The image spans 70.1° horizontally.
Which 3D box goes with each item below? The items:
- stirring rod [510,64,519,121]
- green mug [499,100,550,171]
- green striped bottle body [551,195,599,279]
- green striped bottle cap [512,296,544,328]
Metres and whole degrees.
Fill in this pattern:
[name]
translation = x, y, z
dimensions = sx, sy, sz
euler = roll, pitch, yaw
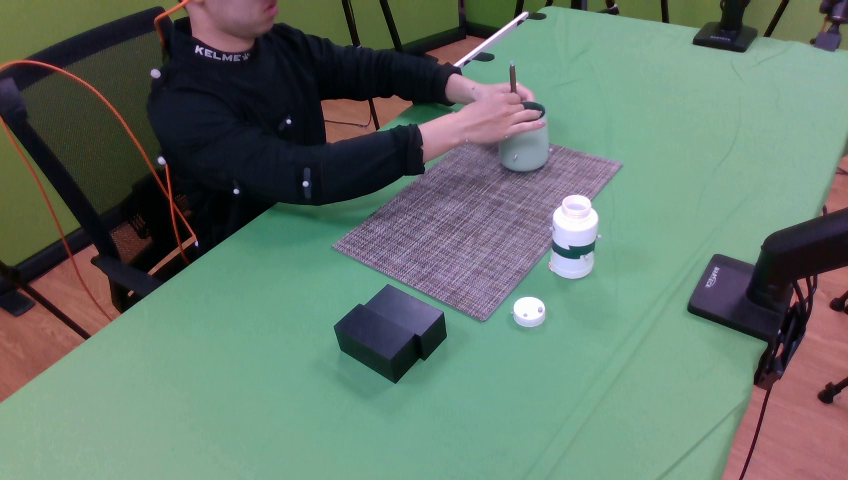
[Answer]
[stirring rod]
translation = 0.163, -0.224, 1.069
dimensions = 0.006, 0.177, 0.014
euler = 12, 38, 31
[green mug]
translation = 0.183, -0.197, 1.101
dimensions = 0.092, 0.105, 0.125
euler = 1, 41, 9
[green striped bottle body]
translation = 0.217, -0.006, 0.870
dimensions = 0.063, 0.120, 0.063
euler = -4, 41, 4
[green striped bottle cap]
translation = 0.144, 0.099, 0.837
dimensions = 0.044, 0.020, 0.044
euler = -1, 43, 2
